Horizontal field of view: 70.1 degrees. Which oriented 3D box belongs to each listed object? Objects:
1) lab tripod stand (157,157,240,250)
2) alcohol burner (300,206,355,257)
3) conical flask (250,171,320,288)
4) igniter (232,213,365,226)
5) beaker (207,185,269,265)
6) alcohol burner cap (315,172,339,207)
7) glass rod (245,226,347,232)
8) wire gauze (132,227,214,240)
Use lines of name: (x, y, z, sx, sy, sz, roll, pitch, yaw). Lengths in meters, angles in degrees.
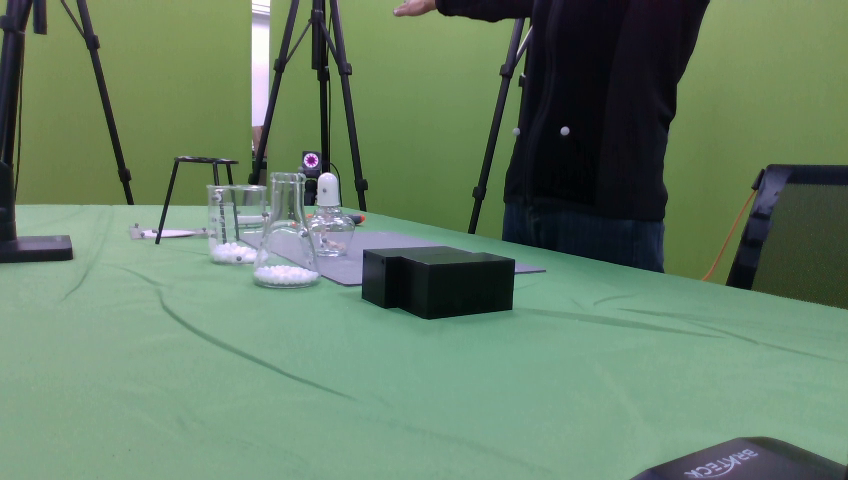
lab tripod stand: (-0.322, -0.057, 0.905, 0.148, 0.131, 0.148, 4, 7, 0)
alcohol burner: (-0.137, -0.037, 0.858, 0.078, 0.119, 0.078, 0, 7, 0)
conical flask: (-0.150, -0.013, 0.658, 0.075, 0.122, 0.075, 2, 7, 0)
igniter: (-0.246, -0.042, 1.223, 0.278, 0.025, 0.057, -3, -1, -36)
beaker: (-0.244, -0.021, 0.784, 0.083, 0.100, 0.074, 6, 8, 30)
alcohol burner cap: (-0.137, -0.072, 0.852, 0.034, 0.048, 0.034, 1, 14, 0)
glass rod: (-0.237, -0.021, 1.142, 0.201, 0.008, 0.008, -2, 8, -32)
wire gauze: (-0.425, -0.013, 1.018, 0.122, 0.011, 0.124, -1, 6, -28)
